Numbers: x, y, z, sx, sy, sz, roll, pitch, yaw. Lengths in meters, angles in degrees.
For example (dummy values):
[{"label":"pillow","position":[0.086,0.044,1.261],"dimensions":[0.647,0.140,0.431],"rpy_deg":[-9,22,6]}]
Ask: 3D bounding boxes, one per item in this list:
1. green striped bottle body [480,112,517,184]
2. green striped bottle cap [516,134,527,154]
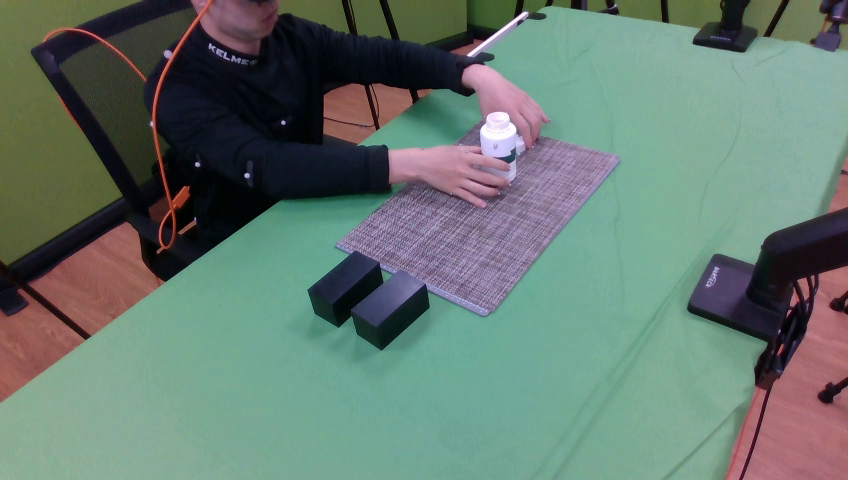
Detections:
[{"label":"green striped bottle body","position":[0.131,-0.162,1.057],"dimensions":[0.063,0.120,0.063],"rpy_deg":[-4,41,4]},{"label":"green striped bottle cap","position":[0.175,-0.183,1.159],"dimensions":[0.044,0.020,0.044],"rpy_deg":[-6,47,7]}]
